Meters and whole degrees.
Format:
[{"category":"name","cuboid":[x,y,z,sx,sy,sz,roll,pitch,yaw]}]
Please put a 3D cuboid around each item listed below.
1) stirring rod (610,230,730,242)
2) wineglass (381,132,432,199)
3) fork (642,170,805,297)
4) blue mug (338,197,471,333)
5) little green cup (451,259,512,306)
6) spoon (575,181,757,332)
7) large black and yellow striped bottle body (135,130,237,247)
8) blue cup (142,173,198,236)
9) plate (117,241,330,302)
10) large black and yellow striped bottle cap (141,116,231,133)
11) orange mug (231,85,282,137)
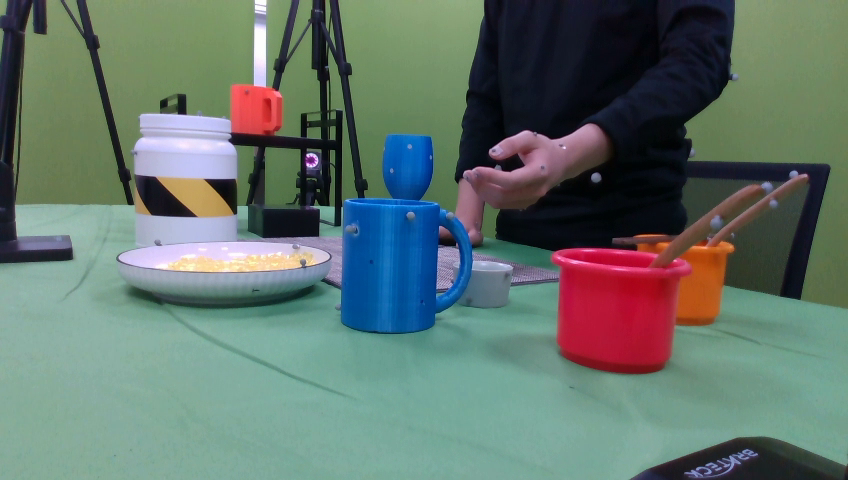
[{"category":"stirring rod","cuboid":[0.241,-0.004,0.582,0.177,0.006,0.014,-3,10,-34]},{"category":"wineglass","cuboid":[-0.026,-0.062,0.841,0.074,0.172,0.073,2,7,0]},{"category":"fork","cuboid":[0.261,0.004,0.545,0.028,0.018,0.207,6,-38,-15]},{"category":"blue mug","cuboid":[-0.016,0.018,0.523,0.117,0.106,0.082,1,7,-13]},{"category":"little green cup","cuboid":[0.057,0.043,0.612,0.061,0.038,0.061,3,7,0]},{"category":"spoon","cuboid":[0.156,0.020,0.412,0.042,0.021,0.193,1,-36,-16]},{"category":"large black and yellow striped bottle body","cuboid":[-0.327,-0.074,0.838,0.131,0.184,0.130,2,7,0]},{"category":"blue cup","cuboid":[-0.425,-0.060,1.014,0.093,0.100,0.092,4,9,0]},{"category":"plate","cuboid":[-0.203,0.031,0.630,0.209,0.038,0.209,3,7,0]},{"category":"large black and yellow striped bottle cap","cuboid":[-0.324,-0.157,0.826,0.115,0.019,0.115,1,7,0]},{"category":"orange mug","cuboid":[-0.335,-0.261,1.225,0.125,0.100,0.084,2,6,35]}]
